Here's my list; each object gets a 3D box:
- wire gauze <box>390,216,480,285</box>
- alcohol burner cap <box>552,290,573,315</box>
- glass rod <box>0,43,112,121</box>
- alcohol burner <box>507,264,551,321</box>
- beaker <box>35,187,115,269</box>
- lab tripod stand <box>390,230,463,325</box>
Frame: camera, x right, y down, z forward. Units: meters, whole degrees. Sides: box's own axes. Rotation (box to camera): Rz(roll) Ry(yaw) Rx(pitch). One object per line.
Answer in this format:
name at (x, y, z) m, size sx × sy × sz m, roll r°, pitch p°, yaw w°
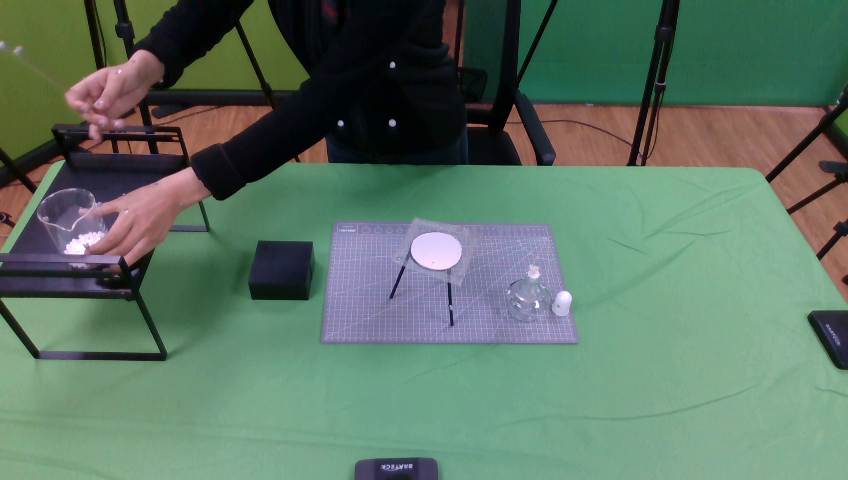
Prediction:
wire gauze at (0.020, 0.012, 1.009) m, size 0.125 × 0.011 × 0.121 m, roll 16°, pitch 48°, yaw 12°
alcohol burner cap at (0.251, 0.109, 1.088) m, size 0.034 × 0.048 × 0.033 m, roll 3°, pitch 47°, yaw -2°
glass rod at (-0.509, -0.219, 0.822) m, size 0.008 × 0.201 × 0.008 m, roll -13°, pitch 60°, yaw 24°
alcohol burner at (0.185, 0.086, 1.056) m, size 0.078 × 0.120 × 0.077 m, roll 0°, pitch 47°, yaw 0°
beaker at (-0.494, -0.012, 0.867) m, size 0.074 × 0.101 × 0.083 m, roll -17°, pitch 51°, yaw -18°
lab tripod stand at (0.014, 0.060, 1.056) m, size 0.148 × 0.132 × 0.147 m, roll 1°, pitch 48°, yaw -1°
